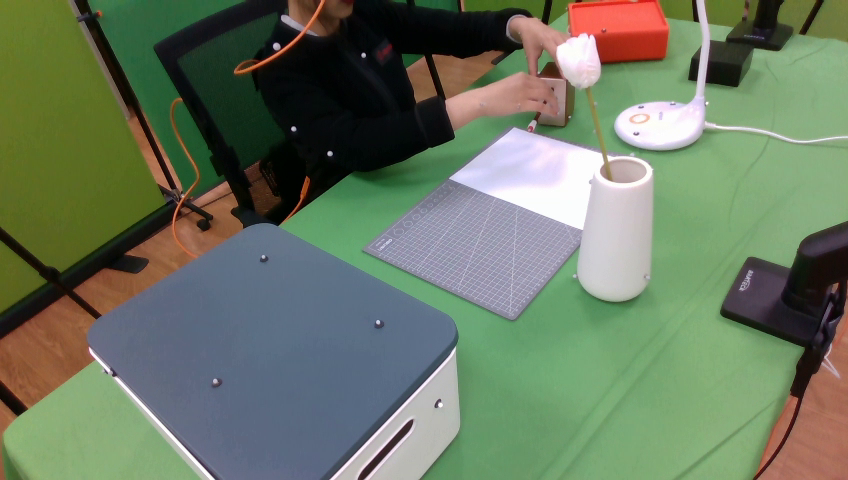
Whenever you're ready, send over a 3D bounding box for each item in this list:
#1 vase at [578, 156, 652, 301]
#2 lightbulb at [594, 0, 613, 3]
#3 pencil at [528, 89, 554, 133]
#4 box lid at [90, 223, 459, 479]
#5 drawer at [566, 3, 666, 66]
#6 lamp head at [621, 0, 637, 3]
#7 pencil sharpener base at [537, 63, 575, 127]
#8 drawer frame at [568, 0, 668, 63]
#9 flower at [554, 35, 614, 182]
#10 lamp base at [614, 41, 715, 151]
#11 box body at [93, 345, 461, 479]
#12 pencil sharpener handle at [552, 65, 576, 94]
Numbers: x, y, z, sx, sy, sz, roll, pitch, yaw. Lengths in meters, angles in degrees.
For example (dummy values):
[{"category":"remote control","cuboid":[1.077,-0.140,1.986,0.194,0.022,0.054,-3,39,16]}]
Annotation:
[{"category":"vase","cuboid":[0.261,-0.011,0.812,0.098,0.201,0.097,-4,40,4]},{"category":"lightbulb","cuboid":[0.305,-0.437,0.977,0.060,0.107,0.059,12,44,-11]},{"category":"pencil","cuboid":[0.228,-0.257,1.144,0.012,0.012,0.194,11,46,23]},{"category":"box lid","cuboid":[-0.174,0.102,0.666,0.368,0.015,0.264,24,48,35]},{"category":"drawer","cuboid":[0.448,-0.493,1.441,0.211,0.073,0.194,0,40,10]},{"category":"lamp head","cuboid":[0.319,-0.453,0.962,0.113,0.123,0.112,20,33,-13]},{"category":"pencil sharpener base","cuboid":[0.267,-0.292,1.217,0.061,0.107,0.076,10,43,23]},{"category":"drawer frame","cuboid":[0.450,-0.495,1.441,0.213,0.083,0.201,-1,40,9]},{"category":"flower","cuboid":[0.237,-0.083,0.774,0.044,0.363,0.038,-22,26,7]},{"category":"lamp base","cuboid":[0.449,-0.277,1.106,0.179,0.181,0.160,1,41,9]},{"category":"box body","cuboid":[-0.162,0.170,0.708,0.361,0.161,0.255,25,50,34]},{"category":"pencil sharpener handle","cuboid":[0.291,-0.334,1.240,0.036,0.068,0.030,-12,33,37]}]
